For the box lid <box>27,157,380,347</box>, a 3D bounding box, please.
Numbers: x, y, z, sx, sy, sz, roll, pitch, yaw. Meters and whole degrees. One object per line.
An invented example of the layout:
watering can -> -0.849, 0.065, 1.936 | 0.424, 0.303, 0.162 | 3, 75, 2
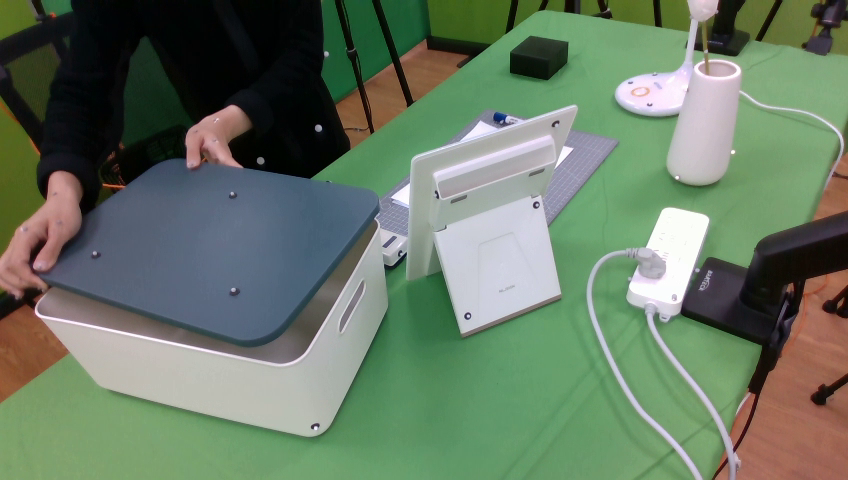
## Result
box lid -> -0.261, -0.006, 0.731 | 0.369, 0.015, 0.263 | 11, 44, 22

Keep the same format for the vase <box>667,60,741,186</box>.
vase -> 0.463, -0.189, 0.994 | 0.098, 0.201, 0.097 | -4, 40, 4

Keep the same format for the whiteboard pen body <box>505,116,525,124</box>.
whiteboard pen body -> 0.203, -0.232, 1.213 | 0.139, 0.017, 0.017 | 27, 51, 36

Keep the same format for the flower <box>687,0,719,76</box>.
flower -> 0.436, -0.242, 0.934 | 0.038, 0.364, 0.043 | -24, 49, 8

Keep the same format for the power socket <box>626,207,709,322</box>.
power socket -> 0.360, 0.026, 0.886 | 0.072, 0.033, 0.227 | 17, 46, 27

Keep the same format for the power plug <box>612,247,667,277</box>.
power plug -> 0.306, 0.031, 0.852 | 0.072, 0.053, 0.035 | 21, 48, 37

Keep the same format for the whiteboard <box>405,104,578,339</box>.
whiteboard -> 0.103, 0.003, 0.786 | 0.218, 0.306, 0.143 | -19, 62, -14

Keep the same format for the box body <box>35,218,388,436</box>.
box body -> -0.251, 0.087, 0.800 | 0.362, 0.161, 0.254 | 7, 42, 16

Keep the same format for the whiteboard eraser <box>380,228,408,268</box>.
whiteboard eraser -> -0.081, 0.007, 0.963 | 0.112, 0.042, 0.056 | 19, 48, 27

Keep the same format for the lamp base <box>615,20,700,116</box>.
lamp base -> 0.484, -0.364, 1.211 | 0.180, 0.181, 0.159 | -15, 41, -14

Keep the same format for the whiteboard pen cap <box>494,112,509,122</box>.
whiteboard pen cap -> 0.161, -0.253, 1.248 | 0.033, 0.018, 0.018 | 27, 51, 36
